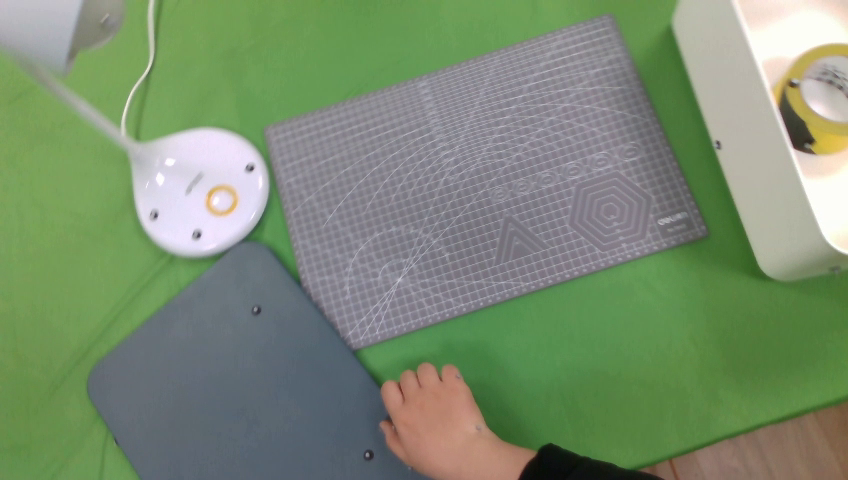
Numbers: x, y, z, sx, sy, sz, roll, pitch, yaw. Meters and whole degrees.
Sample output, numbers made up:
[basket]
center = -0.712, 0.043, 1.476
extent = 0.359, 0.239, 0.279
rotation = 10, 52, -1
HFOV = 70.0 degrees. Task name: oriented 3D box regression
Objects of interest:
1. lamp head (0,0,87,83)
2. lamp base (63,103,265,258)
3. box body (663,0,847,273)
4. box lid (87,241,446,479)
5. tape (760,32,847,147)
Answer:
[lamp head]
center = -0.276, -0.169, 0.374
extent = 0.124, 0.112, 0.112
rotation = 14, 75, -25
[lamp base]
center = -0.291, -0.080, 0.660
extent = 0.178, 0.181, 0.160
rotation = 19, 78, 14
[box body]
center = 0.423, -0.167, 0.610
extent = 0.254, 0.161, 0.361
rotation = -14, 74, 3
[box lid]
center = -0.182, 0.203, 0.663
extent = 0.263, 0.015, 0.369
rotation = -41, 75, -4
[tape]
center = 0.432, -0.164, 0.659
extent = 0.117, 0.053, 0.116
rotation = -1, 75, 6
